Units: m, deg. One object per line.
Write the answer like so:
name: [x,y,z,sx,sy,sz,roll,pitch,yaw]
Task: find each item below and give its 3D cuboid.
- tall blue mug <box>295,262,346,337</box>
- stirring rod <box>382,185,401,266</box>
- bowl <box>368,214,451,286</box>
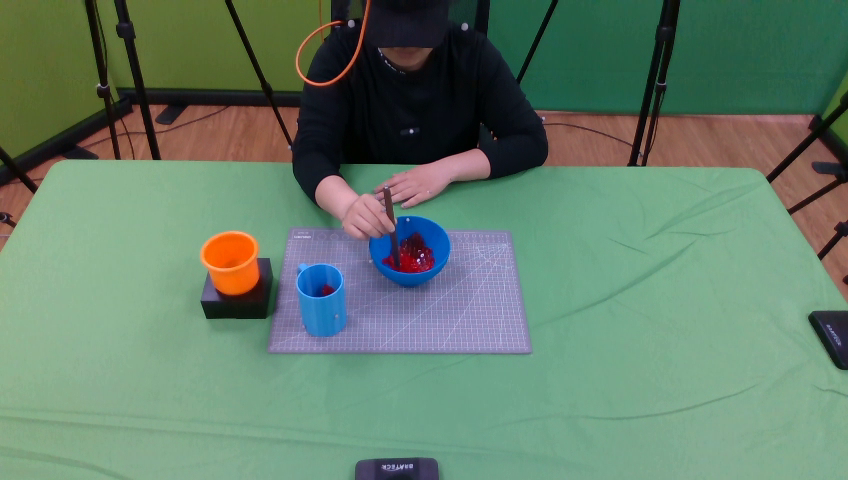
tall blue mug: [-0.187,0.096,1.027,0.107,0.108,0.077,21,49,16]
stirring rod: [-0.055,-0.021,1.040,0.014,0.177,0.006,19,46,26]
bowl: [-0.028,0.031,1.122,0.151,0.077,0.150,2,46,-2]
